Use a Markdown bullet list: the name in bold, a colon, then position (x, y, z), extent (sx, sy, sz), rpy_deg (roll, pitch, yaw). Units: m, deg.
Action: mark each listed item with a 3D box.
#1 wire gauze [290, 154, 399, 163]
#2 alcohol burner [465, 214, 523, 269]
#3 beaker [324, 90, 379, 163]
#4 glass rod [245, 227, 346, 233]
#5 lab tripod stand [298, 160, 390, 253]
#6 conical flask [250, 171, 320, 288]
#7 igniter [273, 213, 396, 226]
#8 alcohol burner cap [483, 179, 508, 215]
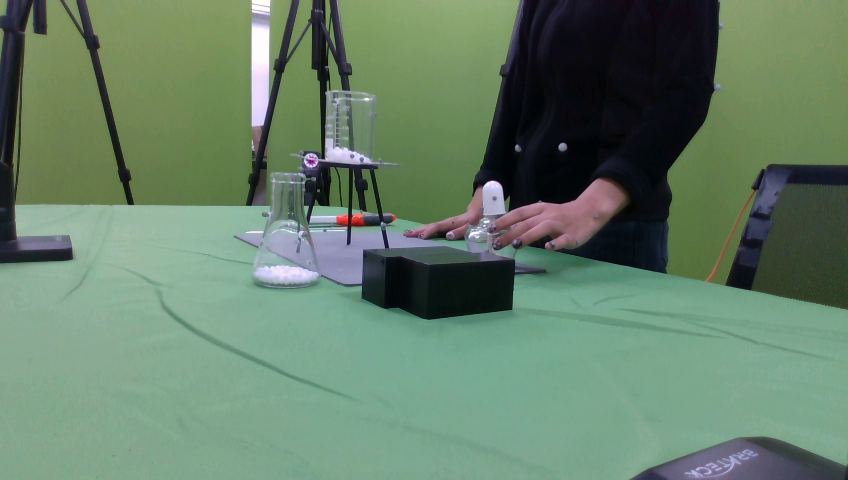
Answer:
- **wire gauze**: position (-0.112, -0.114, 0.883), extent (0.124, 0.011, 0.122), rpy_deg (5, 5, 28)
- **alcohol burner**: position (0.094, -0.022, 0.815), extent (0.078, 0.119, 0.078), rpy_deg (0, 7, 0)
- **beaker**: position (-0.110, -0.162, 0.879), extent (0.083, 0.100, 0.074), rpy_deg (8, 7, 36)
- **glass rod**: position (-0.236, -0.021, 1.140), extent (0.201, 0.008, 0.008), rpy_deg (-2, 8, -33)
- **lab tripod stand**: position (-0.111, -0.050, 0.893), extent (0.148, 0.131, 0.148), rpy_deg (4, 6, 0)
- **conical flask**: position (-0.150, -0.013, 0.658), extent (0.075, 0.122, 0.075), rpy_deg (2, 7, 0)
- **igniter**: position (-0.179, -0.043, 1.258), extent (0.278, 0.025, 0.057), rpy_deg (-3, -1, -39)
- **alcohol burner cap**: position (0.094, -0.057, 0.810), extent (0.034, 0.048, 0.034), rpy_deg (-8, 6, 1)
